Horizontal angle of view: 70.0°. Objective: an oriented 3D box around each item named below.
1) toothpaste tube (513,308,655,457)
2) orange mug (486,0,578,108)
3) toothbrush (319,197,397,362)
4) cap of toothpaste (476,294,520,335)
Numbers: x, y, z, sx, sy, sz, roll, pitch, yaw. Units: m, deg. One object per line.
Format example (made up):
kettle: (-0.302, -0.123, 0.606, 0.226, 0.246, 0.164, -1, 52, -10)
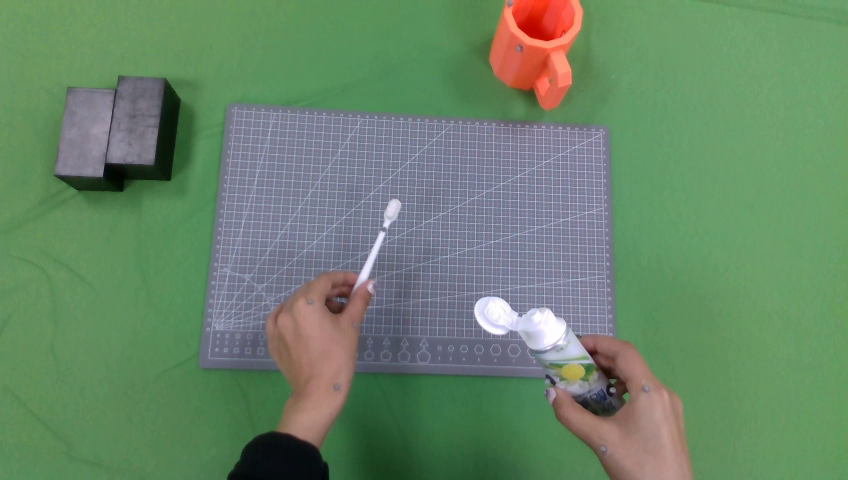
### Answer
toothpaste tube: (0.125, 0.116, 0.490, 0.055, 0.034, 0.166, -30, 111, 24)
orange mug: (0.128, -0.220, 0.695, 0.083, 0.101, 0.125, -19, 75, -8)
toothbrush: (-0.066, 0.038, 0.612, 0.014, 0.016, 0.181, 23, 86, -1)
cap of toothpaste: (0.058, 0.057, 0.476, 0.037, 0.011, 0.037, 11, 54, -16)
